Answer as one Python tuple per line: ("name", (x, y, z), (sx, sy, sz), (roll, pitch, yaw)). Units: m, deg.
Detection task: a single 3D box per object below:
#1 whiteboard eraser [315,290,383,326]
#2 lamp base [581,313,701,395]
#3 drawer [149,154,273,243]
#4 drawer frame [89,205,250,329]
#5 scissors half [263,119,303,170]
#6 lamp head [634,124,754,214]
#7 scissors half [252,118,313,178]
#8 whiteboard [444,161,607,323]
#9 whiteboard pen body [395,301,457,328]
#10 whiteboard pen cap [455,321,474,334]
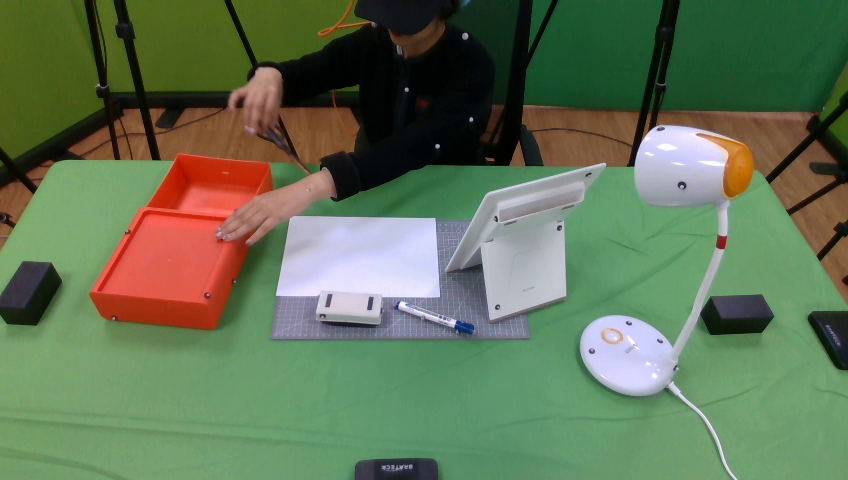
("whiteboard eraser", (-0.130, 0.120, 1.054), (0.113, 0.042, 0.055), (4, 47, 0))
("lamp base", (0.361, 0.144, 0.972), (0.178, 0.181, 0.160), (34, 53, 23))
("drawer", (-0.424, -0.074, 1.201), (0.194, 0.073, 0.210), (6, 45, 1))
("drawer frame", (-0.440, 0.043, 1.080), (0.202, 0.083, 0.212), (5, 47, 0))
("scissors half", (-0.279, -0.188, 1.250), (0.174, 0.013, 0.040), (52, 29, 19))
("lamp head", (0.351, -0.089, 0.776), (0.112, 0.113, 0.122), (-30, 30, -28))
("scissors half", (-0.289, -0.185, 1.233), (0.175, 0.013, 0.040), (43, 33, 5))
("whiteboard", (0.186, 0.025, 1.029), (0.217, 0.306, 0.143), (-14, 68, -18))
("whiteboard pen body", (0.015, 0.134, 1.064), (0.140, 0.017, 0.017), (17, 47, 16))
("whiteboard pen cap", (0.069, 0.151, 1.046), (0.033, 0.018, 0.018), (14, 47, 16))
